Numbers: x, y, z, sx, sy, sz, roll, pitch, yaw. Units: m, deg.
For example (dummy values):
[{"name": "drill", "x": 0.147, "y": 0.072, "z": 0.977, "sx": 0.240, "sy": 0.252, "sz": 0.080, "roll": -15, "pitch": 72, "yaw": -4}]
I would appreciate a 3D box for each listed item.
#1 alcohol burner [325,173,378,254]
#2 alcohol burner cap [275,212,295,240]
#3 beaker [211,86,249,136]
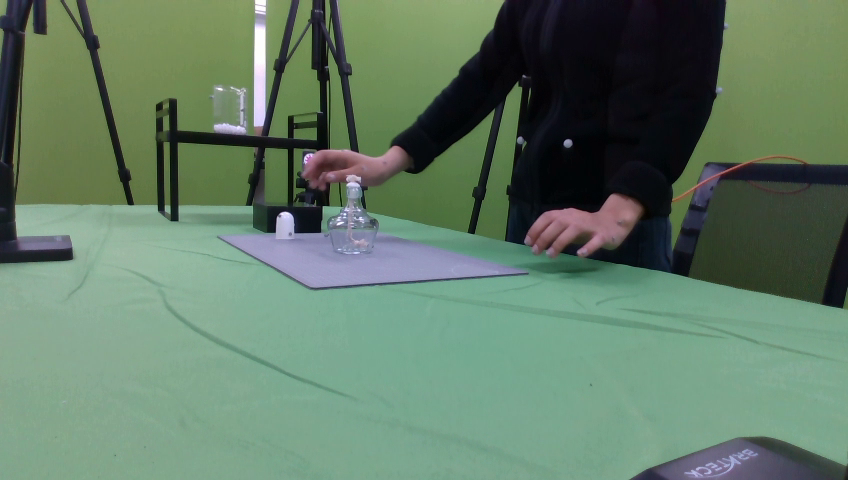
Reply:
[{"name": "alcohol burner", "x": -0.107, "y": -0.040, "z": 0.896, "sx": 0.078, "sy": 0.119, "sz": 0.078, "roll": 2, "pitch": 5, "yaw": 0}, {"name": "alcohol burner cap", "x": -0.233, "y": -0.024, "z": 1.013, "sx": 0.034, "sy": 0.048, "sz": 0.034, "roll": 1, "pitch": 7, "yaw": 0}, {"name": "beaker", "x": -0.413, "y": -0.274, "z": 1.297, "sx": 0.074, "sy": 0.100, "sz": 0.083, "roll": -5, "pitch": 11, "yaw": -44}]
